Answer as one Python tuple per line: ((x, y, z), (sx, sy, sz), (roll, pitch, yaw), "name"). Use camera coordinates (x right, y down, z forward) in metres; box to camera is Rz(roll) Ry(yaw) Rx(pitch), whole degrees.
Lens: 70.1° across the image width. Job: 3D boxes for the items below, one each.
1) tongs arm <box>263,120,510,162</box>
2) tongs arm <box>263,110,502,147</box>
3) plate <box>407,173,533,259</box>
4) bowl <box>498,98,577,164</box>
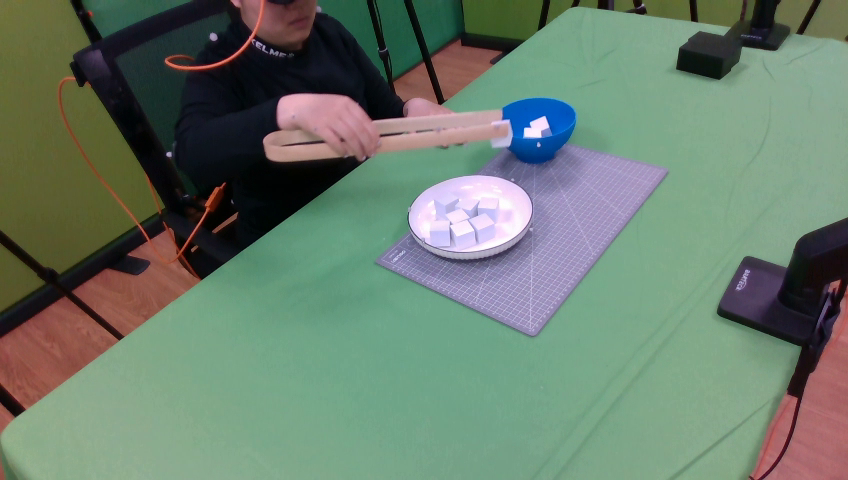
((-0.055, -0.162, 0.952), (0.386, 0.026, 0.050), (-10, 38, -11), "tongs arm")
((-0.060, -0.177, 0.973), (0.389, 0.028, 0.028), (-8, 41, -9), "tongs arm")
((0.076, -0.037, 0.997), (0.207, 0.039, 0.206), (-5, 40, 5), "plate")
((0.207, -0.196, 1.128), (0.151, 0.077, 0.150), (-5, 40, 5), "bowl")
